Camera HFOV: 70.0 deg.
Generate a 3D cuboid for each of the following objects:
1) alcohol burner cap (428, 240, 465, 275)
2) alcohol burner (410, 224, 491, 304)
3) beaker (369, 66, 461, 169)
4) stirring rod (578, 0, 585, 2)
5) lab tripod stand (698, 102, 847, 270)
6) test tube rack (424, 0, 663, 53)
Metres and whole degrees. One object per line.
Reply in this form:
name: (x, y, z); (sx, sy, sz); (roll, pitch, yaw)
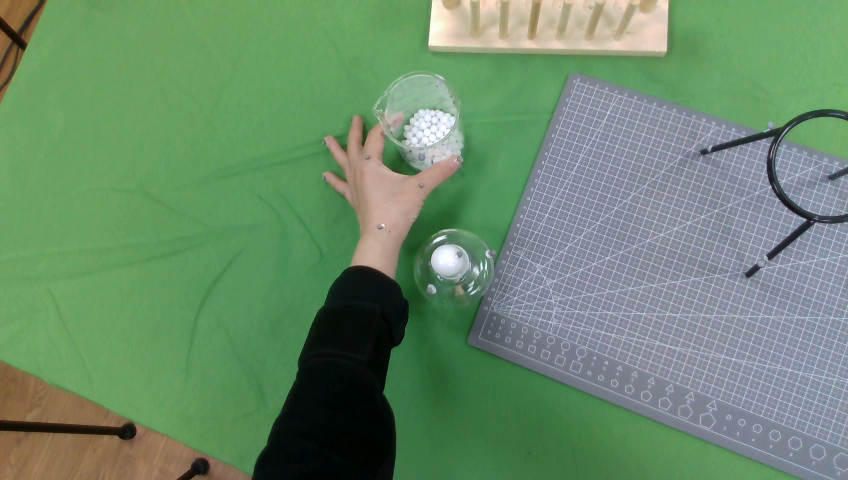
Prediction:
alcohol burner cap: (0.018, 0.014, 0.530); (0.034, 0.048, 0.034); (0, 86, 7)
alcohol burner: (0.023, 0.020, 0.565); (0.078, 0.119, 0.077); (-1, 81, 5)
beaker: (-0.004, -0.114, 0.591); (0.084, 0.100, 0.074); (5, 83, 7)
stirring rod: (0.153, -0.267, 0.518); (0.014, 0.177, 0.006); (28, 74, 9)
lab tripod stand: (0.316, -0.050, 0.525); (0.148, 0.132, 0.148); (-1, 84, 6)
test tube rack: (0.118, -0.237, 0.599); (0.242, 0.085, 0.066); (3, 83, 7)
